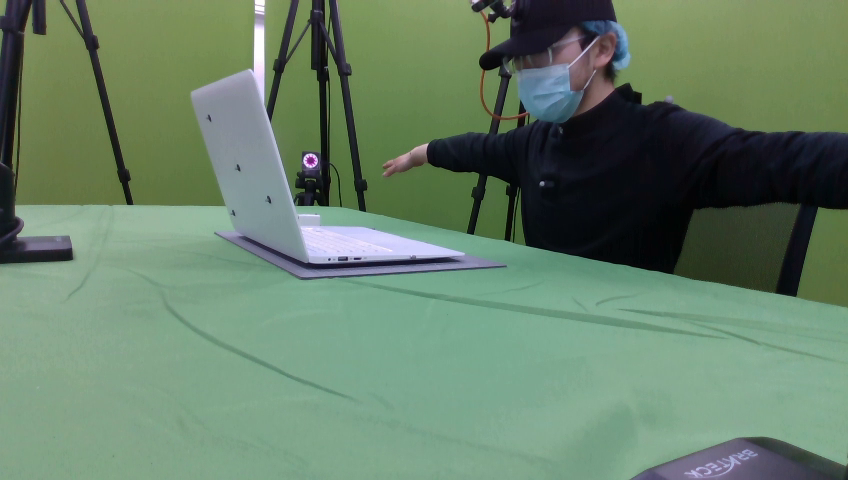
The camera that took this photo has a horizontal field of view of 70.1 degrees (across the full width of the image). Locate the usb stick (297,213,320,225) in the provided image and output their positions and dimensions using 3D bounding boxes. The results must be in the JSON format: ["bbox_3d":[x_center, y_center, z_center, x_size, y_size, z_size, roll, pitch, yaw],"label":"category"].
[{"bbox_3d":[-0.242,-0.040,1.221,0.059,0.027,0.021,-5,11,-28],"label":"usb stick"}]

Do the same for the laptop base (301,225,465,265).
[{"bbox_3d":[-0.128,0.005,0.937,0.237,0.023,0.352,2,7,-32],"label":"laptop base"}]

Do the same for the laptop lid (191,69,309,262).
[{"bbox_3d":[-0.254,-0.103,0.842,0.013,0.242,0.355,-22,20,-27],"label":"laptop lid"}]
